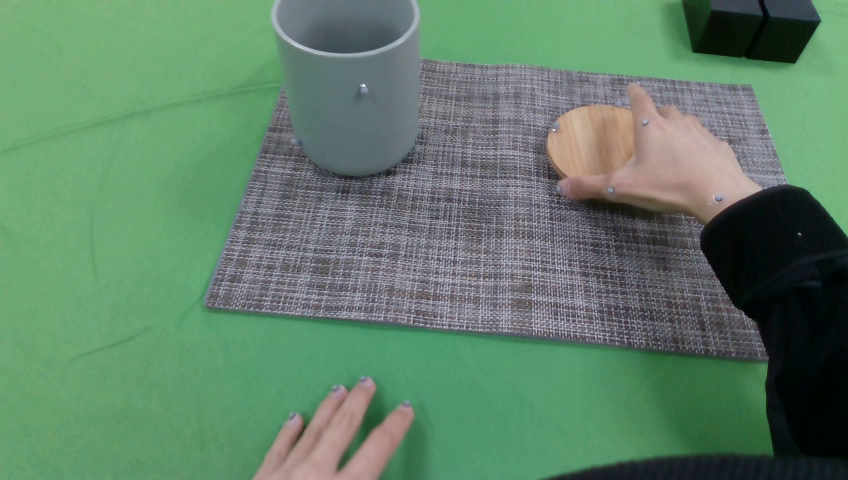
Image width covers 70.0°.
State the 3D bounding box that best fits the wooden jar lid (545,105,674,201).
[{"bbox_3d":[0.156,-0.073,0.516,0.108,0.021,0.107,1,52,-1],"label":"wooden jar lid"}]

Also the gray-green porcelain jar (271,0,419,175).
[{"bbox_3d":[-0.057,-0.123,0.477,0.106,0.127,0.105,1,53,-1],"label":"gray-green porcelain jar"}]
